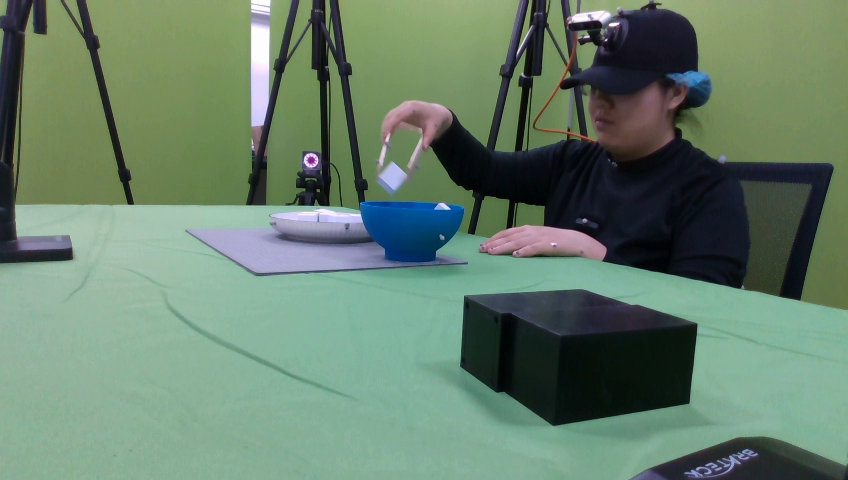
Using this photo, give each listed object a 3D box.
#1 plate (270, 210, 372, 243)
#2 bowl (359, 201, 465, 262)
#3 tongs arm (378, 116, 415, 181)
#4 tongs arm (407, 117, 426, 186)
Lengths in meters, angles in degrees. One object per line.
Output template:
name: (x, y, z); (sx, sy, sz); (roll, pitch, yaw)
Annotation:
plate: (-0.161, -0.023, 1.054); (0.208, 0.039, 0.207); (2, 7, 0)
bowl: (-0.018, -0.013, 0.859); (0.151, 0.077, 0.151); (2, 7, 0)
tongs arm: (-0.043, -0.167, 1.053); (0.051, 0.026, 0.384); (9, 22, -5)
tongs arm: (-0.015, -0.162, 1.054); (0.028, 0.028, 0.387); (7, 22, 0)
